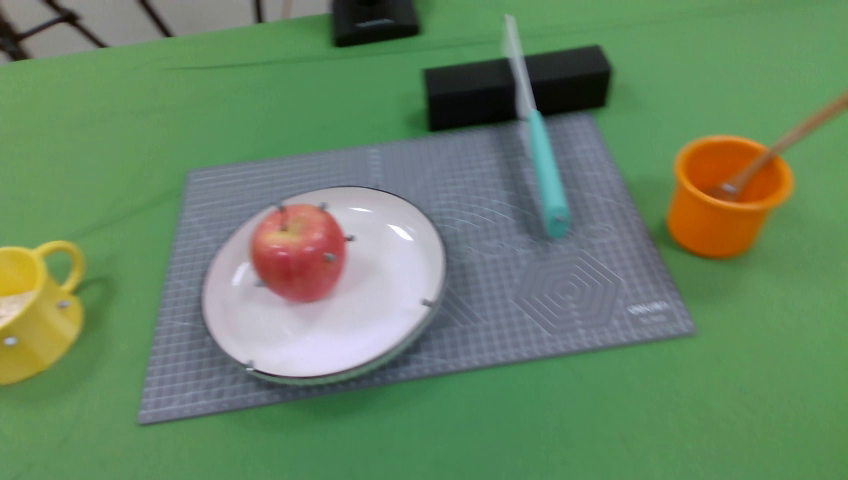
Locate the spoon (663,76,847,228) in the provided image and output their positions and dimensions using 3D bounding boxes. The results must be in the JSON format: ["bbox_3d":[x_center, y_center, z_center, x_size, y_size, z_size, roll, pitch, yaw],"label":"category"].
[{"bbox_3d":[0.287,-0.076,0.512,0.022,0.194,0.041,23,35,-33],"label":"spoon"}]

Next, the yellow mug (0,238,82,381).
[{"bbox_3d":[-0.354,0.050,0.526,0.099,0.064,0.130,19,53,20],"label":"yellow mug"}]

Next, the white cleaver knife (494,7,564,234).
[{"bbox_3d":[0.103,-0.128,0.624,0.021,0.066,0.283,-8,60,2],"label":"white cleaver knife"}]

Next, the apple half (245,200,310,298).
[{"bbox_3d":[-0.122,0.009,0.517,0.053,0.075,0.080,-2,53,11],"label":"apple half"}]

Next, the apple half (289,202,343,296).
[{"bbox_3d":[-0.084,0.009,0.512,0.033,0.082,0.080,-3,50,10],"label":"apple half"}]

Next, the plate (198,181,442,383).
[{"bbox_3d":[-0.087,0.034,0.527,0.209,0.038,0.207,-3,50,3],"label":"plate"}]
